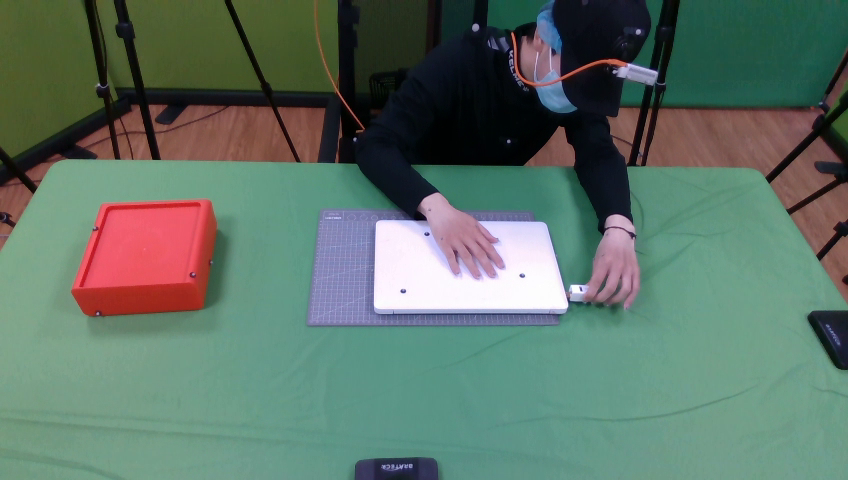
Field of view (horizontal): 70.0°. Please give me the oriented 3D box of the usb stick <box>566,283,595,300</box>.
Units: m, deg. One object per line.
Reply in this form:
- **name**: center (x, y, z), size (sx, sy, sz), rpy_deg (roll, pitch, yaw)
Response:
- **usb stick**: center (0.281, 0.095, 1.111), size (0.059, 0.027, 0.021), rpy_deg (-4, 46, 3)

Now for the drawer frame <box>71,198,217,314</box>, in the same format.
- **drawer frame**: center (-0.493, 0.024, 1.096), size (0.202, 0.083, 0.212), rpy_deg (-3, 47, -8)

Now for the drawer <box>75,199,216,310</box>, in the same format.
- **drawer**: center (-0.494, 0.022, 1.097), size (0.195, 0.073, 0.210), rpy_deg (-2, 47, -8)

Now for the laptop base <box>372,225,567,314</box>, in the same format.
- **laptop base**: center (0.080, 0.050, 1.159), size (0.355, 0.023, 0.234), rpy_deg (0, 43, -4)

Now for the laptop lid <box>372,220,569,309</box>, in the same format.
- **laptop lid**: center (0.081, 0.040, 1.152), size (0.357, 0.013, 0.240), rpy_deg (2, 43, -3)
